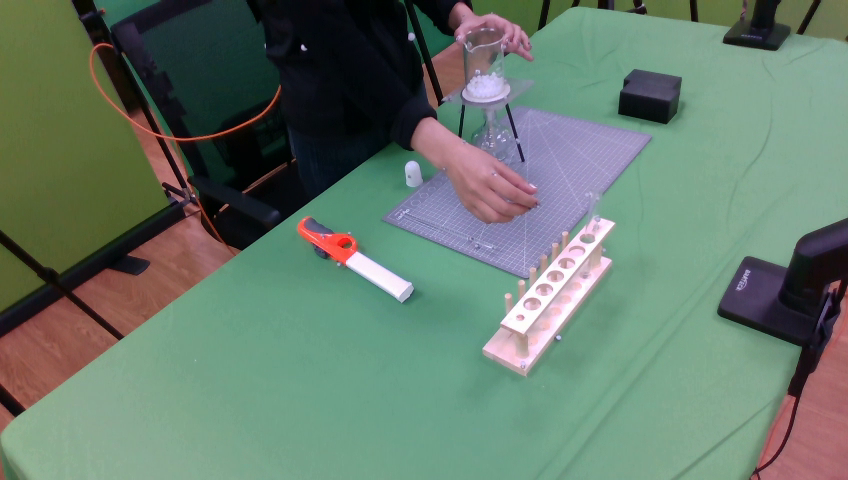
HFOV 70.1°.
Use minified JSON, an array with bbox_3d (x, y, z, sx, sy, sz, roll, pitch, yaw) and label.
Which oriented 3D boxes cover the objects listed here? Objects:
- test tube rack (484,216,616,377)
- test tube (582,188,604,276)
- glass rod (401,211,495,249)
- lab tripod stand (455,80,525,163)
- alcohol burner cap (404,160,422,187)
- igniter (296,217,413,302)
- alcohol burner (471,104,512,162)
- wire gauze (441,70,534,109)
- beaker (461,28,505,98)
[{"bbox_3d":[0.174,0.065,0.823,0.066,0.085,0.243,23,49,33],"label":"test tube rack"},{"bbox_3d":[0.228,-0.007,0.821,0.017,0.151,0.017,-3,42,3],"label":"test tube"},{"bbox_3d":[0.035,-0.018,1.001,0.198,0.008,0.008,22,50,35],"label":"glass rod"},{"bbox_3d":[0.120,-0.219,1.126,0.148,0.132,0.147,-4,40,4],"label":"lab tripod stand"},{"bbox_3d":[-0.022,-0.125,1.118,0.034,0.048,0.033,-5,40,4],"label":"alcohol burner cap"},{"bbox_3d":[-0.121,0.025,0.970,0.274,0.025,0.057,29,63,37],"label":"igniter"},{"bbox_3d":[0.125,-0.207,1.125,0.078,0.119,0.077,-5,42,5],"label":"alcohol burner"},{"bbox_3d":[0.114,-0.268,1.082,0.120,0.011,0.125,22,46,29],"label":"wire gauze"},{"bbox_3d":[0.103,-0.305,1.051,0.073,0.101,0.084,19,47,29],"label":"beaker"}]
